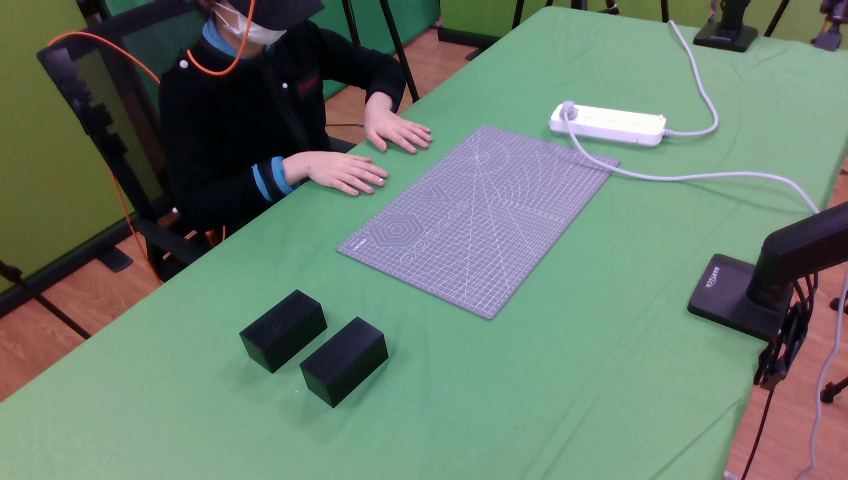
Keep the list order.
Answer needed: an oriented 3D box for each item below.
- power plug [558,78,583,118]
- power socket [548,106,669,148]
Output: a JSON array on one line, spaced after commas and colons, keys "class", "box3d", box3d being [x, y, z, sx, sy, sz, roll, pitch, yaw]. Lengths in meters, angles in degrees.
[{"class": "power plug", "box3d": [0.278, -0.268, 1.157, 0.035, 0.073, 0.052, -43, 37, -20]}, {"class": "power socket", "box3d": [0.352, -0.223, 1.170, 0.225, 0.033, 0.072, 15, 46, 24]}]
